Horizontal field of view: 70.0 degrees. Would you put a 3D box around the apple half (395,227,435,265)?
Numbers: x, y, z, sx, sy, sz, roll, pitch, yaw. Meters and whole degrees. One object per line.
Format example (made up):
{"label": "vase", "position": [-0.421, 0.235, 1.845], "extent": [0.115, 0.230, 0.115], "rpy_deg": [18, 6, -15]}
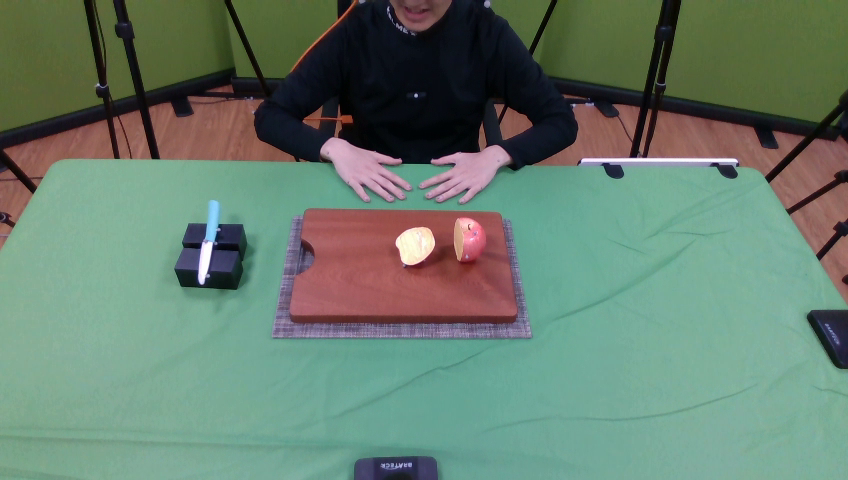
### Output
{"label": "apple half", "position": [-0.011, 0.015, 1.126], "extent": [0.081, 0.033, 0.081], "rpy_deg": [-9, 58, 15]}

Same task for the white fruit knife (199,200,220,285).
{"label": "white fruit knife", "position": [-0.391, 0.001, 1.104], "extent": [0.027, 0.016, 0.206], "rpy_deg": [-18, 49, 11]}

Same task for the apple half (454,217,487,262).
{"label": "apple half", "position": [0.088, 0.000, 1.126], "extent": [0.053, 0.075, 0.080], "rpy_deg": [-2, 42, -11]}
